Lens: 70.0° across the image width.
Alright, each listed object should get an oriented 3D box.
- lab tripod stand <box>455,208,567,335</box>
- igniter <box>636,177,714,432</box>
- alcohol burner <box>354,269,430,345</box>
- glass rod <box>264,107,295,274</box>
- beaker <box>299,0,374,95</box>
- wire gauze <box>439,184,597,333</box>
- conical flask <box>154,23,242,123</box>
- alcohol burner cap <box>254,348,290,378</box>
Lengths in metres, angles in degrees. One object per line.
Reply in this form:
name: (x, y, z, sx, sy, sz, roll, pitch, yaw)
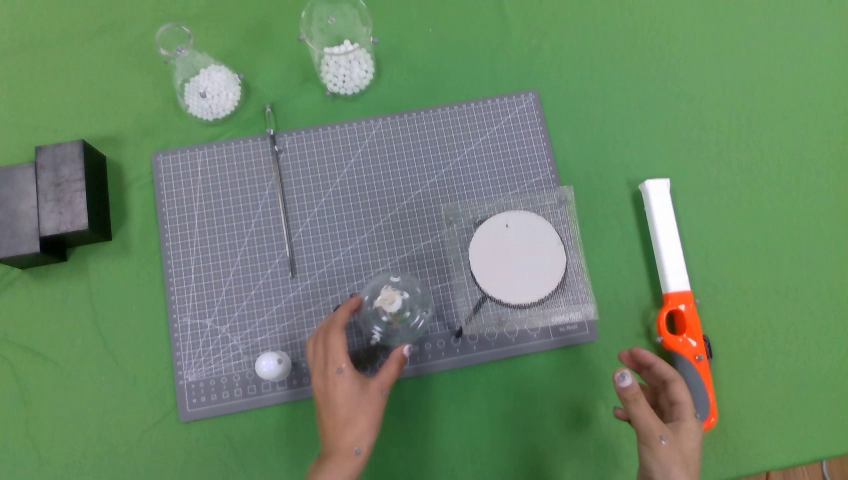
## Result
lab tripod stand: (0.081, 0.032, 0.603, 0.148, 0.132, 0.148, 0, 79, -1)
igniter: (0.272, 0.065, 0.659, 0.057, 0.025, 0.275, -4, 78, -14)
alcohol burner: (-0.032, 0.065, 0.603, 0.078, 0.119, 0.077, 0, 79, -1)
glass rod: (-0.163, -0.058, 0.679, 0.008, 0.008, 0.198, -11, 78, -4)
beaker: (-0.093, -0.215, 0.673, 0.074, 0.100, 0.083, -8, 77, -3)
wire gauze: (0.083, 0.016, 0.538, 0.125, 0.011, 0.121, -8, 79, -3)
conical flask: (-0.247, -0.183, 0.649, 0.075, 0.122, 0.075, 0, 77, -1)
alcohol burner cap: (-0.159, 0.126, 0.623, 0.034, 0.048, 0.033, 0, 78, -2)
